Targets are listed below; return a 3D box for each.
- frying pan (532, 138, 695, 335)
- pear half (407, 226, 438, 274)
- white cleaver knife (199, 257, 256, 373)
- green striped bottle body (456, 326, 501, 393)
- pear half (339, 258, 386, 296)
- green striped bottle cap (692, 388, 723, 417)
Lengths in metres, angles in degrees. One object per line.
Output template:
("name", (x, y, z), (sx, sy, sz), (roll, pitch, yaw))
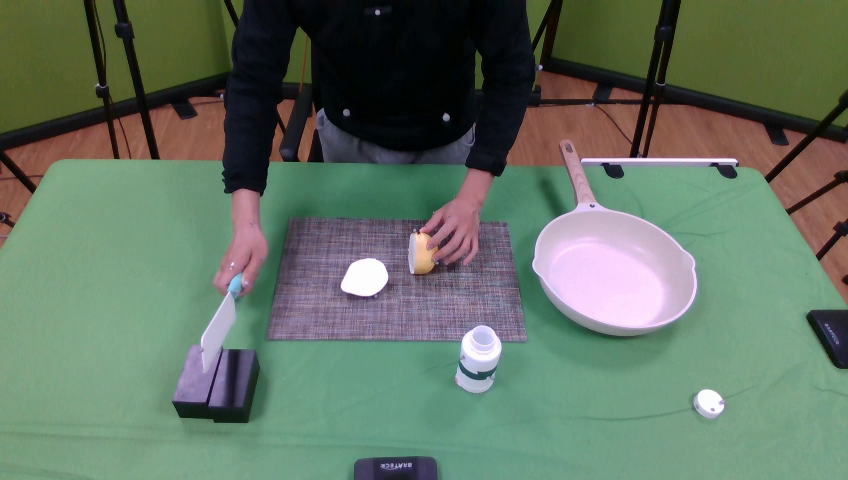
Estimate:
("frying pan", (0.336, -0.024, 1.190), (0.307, 0.103, 0.484), (-2, 55, -7))
("pear half", (-0.001, 0.012, 1.120), (0.056, 0.110, 0.076), (-8, 52, -13))
("white cleaver knife", (-0.316, 0.109, 0.975), (0.021, 0.066, 0.285), (3, 25, -1))
("green striped bottle body", (0.086, 0.186, 0.959), (0.063, 0.120, 0.063), (2, 46, -2))
("pear half", (-0.112, 0.073, 1.106), (0.088, 0.031, 0.070), (-25, 69, -11))
("green striped bottle cap", (0.460, 0.263, 0.984), (0.044, 0.020, 0.044), (3, 47, -3))
